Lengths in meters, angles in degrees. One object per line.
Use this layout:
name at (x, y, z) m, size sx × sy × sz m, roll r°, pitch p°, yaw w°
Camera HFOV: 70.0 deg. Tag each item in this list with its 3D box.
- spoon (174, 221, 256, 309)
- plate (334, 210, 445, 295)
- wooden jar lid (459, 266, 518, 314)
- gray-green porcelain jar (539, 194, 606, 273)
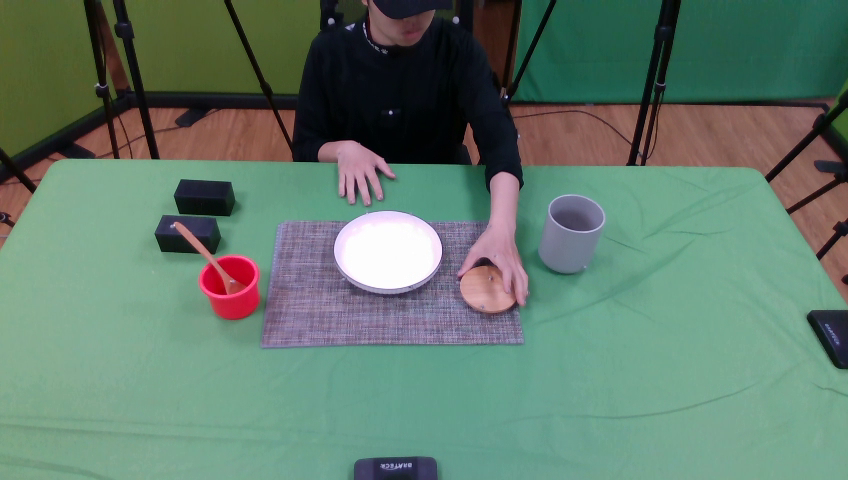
spoon at (-0.360, 0.043, 1.043) m, size 0.194 × 0.021 × 0.041 m, roll 54°, pitch 52°, yaw -14°
plate at (-0.066, 0.026, 1.150) m, size 0.208 × 0.039 × 0.206 m, roll 2°, pitch 46°, yaw -2°
wooden jar lid at (0.118, 0.093, 1.111) m, size 0.108 × 0.021 × 0.107 m, roll 2°, pitch 47°, yaw -2°
gray-green porcelain jar at (0.277, -0.007, 1.151) m, size 0.106 × 0.127 × 0.105 m, roll 2°, pitch 46°, yaw -1°
